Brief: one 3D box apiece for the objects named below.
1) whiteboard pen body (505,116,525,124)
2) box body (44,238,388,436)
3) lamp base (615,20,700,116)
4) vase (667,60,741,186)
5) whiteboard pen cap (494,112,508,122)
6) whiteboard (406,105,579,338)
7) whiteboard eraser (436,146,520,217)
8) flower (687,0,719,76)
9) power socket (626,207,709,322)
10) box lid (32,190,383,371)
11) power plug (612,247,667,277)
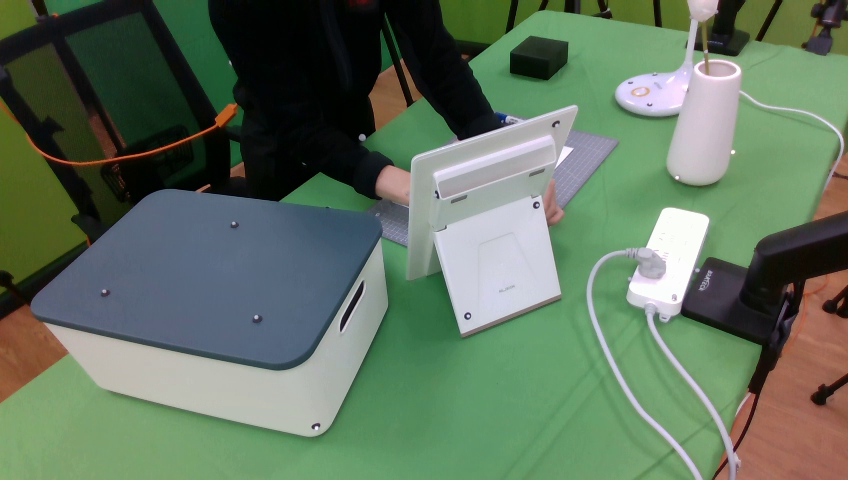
[{"bbox_3d":[0.203,-0.232,1.213,0.139,0.017,0.017,27,51,36],"label":"whiteboard pen body"},{"bbox_3d":[-0.251,0.088,0.799,0.362,0.161,0.254,7,42,16],"label":"box body"},{"bbox_3d":[0.484,-0.364,1.211,0.180,0.181,0.159,-15,41,-14],"label":"lamp base"},{"bbox_3d":[0.463,-0.189,0.994,0.098,0.201,0.097,-4,40,3],"label":"vase"},{"bbox_3d":[0.161,-0.253,1.248,0.033,0.018,0.018,29,52,36],"label":"whiteboard pen cap"},{"bbox_3d":[0.103,0.003,0.786,0.218,0.306,0.143,-19,62,-14],"label":"whiteboard"},{"bbox_3d":[0.073,-0.073,0.813,0.112,0.056,0.041,-40,62,25],"label":"whiteboard eraser"},{"bbox_3d":[0.435,-0.242,0.934,0.038,0.364,0.043,-25,49,7],"label":"flower"},{"bbox_3d":[0.360,0.026,0.886,0.072,0.033,0.227,17,46,27],"label":"power socket"},{"bbox_3d":[-0.257,0.032,0.750,0.370,0.015,0.263,7,41,16],"label":"box lid"},{"bbox_3d":[0.306,0.031,0.852,0.072,0.053,0.035,21,48,37],"label":"power plug"}]
